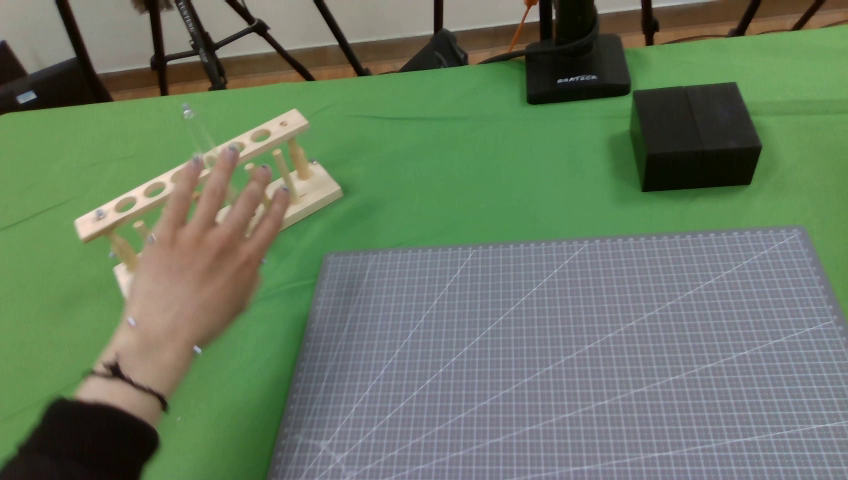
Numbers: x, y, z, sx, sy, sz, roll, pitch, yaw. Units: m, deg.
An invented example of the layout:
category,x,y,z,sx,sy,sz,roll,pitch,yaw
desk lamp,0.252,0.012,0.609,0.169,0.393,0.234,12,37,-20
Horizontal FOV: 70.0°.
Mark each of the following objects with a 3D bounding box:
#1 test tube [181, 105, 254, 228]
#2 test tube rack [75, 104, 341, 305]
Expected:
category,x,y,z,sx,sy,sz,roll,pitch,yaw
test tube,-0.199,-0.068,0.589,0.017,0.152,0.017,-5,48,6
test tube rack,-0.215,-0.040,0.630,0.242,0.086,0.066,-31,50,-15
